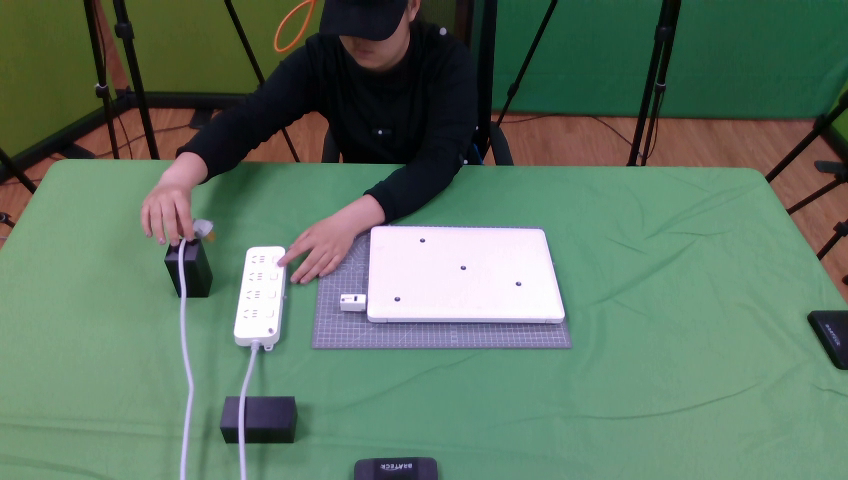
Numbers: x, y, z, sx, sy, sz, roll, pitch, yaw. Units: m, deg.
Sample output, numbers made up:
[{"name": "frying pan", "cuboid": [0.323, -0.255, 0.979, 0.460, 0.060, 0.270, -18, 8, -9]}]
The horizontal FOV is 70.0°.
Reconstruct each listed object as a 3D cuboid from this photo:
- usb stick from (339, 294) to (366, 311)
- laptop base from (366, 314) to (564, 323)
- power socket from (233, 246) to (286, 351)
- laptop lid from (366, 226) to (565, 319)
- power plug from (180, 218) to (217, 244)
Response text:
[{"name": "usb stick", "cuboid": [-0.119, 0.111, 1.068, 0.059, 0.027, 0.021, 4, 47, -5]}, {"name": "laptop base", "cuboid": [0.071, 0.065, 1.144, 0.355, 0.023, 0.234, 1, 42, -4]}, {"name": "power socket", "cuboid": [-0.289, 0.095, 1.077, 0.072, 0.033, 0.225, -2, 46, -5]}, {"name": "laptop lid", "cuboid": [0.071, 0.055, 1.137, 0.357, 0.013, 0.240, 2, 44, -3]}, {"name": "power plug", "cuboid": [-0.397, -0.006, 1.065, 0.035, 0.053, 0.072, -5, 46, 42]}]
